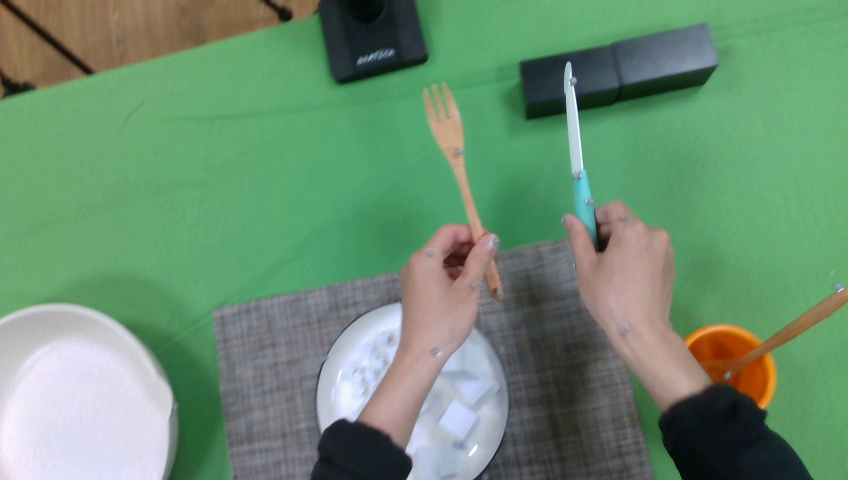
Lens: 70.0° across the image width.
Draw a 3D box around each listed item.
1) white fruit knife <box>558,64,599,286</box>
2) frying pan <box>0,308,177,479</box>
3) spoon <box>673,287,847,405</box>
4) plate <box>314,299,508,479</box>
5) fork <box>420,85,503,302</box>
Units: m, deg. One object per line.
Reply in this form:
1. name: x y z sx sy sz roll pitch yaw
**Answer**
1. white fruit knife: 0.140 -0.055 0.555 0.016 0.027 0.208 -14 103 -12
2. frying pan: -0.380 0.316 0.645 0.307 0.103 0.484 -19 70 5
3. spoon: 0.307 0.102 0.561 0.041 0.194 0.021 45 45 9
4. plate: -0.014 0.168 0.648 0.207 0.039 0.207 -1 81 8
5. fork: 0.038 -0.039 0.554 0.028 0.018 0.208 -16 97 17
